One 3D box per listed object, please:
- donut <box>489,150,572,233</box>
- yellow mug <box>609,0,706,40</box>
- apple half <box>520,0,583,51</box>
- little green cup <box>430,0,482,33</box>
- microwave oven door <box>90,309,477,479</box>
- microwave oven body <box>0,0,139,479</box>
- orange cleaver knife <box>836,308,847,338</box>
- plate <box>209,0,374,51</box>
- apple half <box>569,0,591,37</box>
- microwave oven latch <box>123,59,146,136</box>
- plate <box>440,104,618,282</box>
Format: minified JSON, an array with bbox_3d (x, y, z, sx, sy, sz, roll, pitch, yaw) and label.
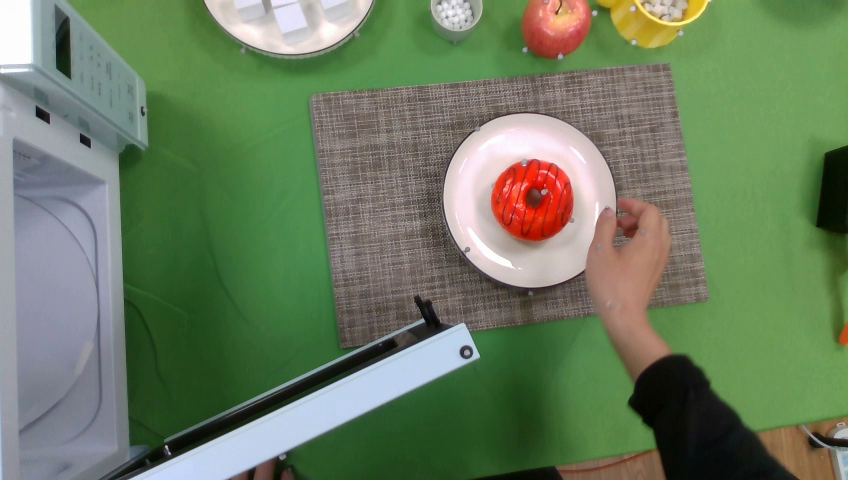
[{"bbox_3d":[0.123,-0.056,0.701,0.099,0.048,0.099,0,87,-5],"label":"donut"},{"bbox_3d":[0.270,-0.305,0.736,0.131,0.064,0.099,4,84,-5],"label":"yellow mug"},{"bbox_3d":[0.143,-0.259,0.717,0.053,0.074,0.081,-33,92,-3],"label":"apple half"},{"bbox_3d":[0.037,-0.280,0.726,0.061,0.038,0.061,0,85,-5],"label":"little green cup"},{"bbox_3d":[-0.132,0.154,0.554,0.356,0.244,0.039,-24,86,-7],"label":"microwave oven door"},{"bbox_3d":[-0.447,0.022,0.538,0.326,0.260,0.440,-4,86,-6],"label":"microwave oven body"},{"bbox_3d":[0.544,0.019,0.726,0.012,0.076,0.212,13,116,-2],"label":"orange cleaver knife"},{"bbox_3d":[-0.154,-0.318,0.710,0.208,0.039,0.207,1,85,-5],"label":"plate"},{"bbox_3d":[0.175,-0.281,0.721,0.033,0.081,0.081,-34,89,-3],"label":"apple half"},{"bbox_3d":[-0.322,-0.155,0.662,0.030,0.029,0.079,-2,86,-6],"label":"microwave oven latch"},{"bbox_3d":[0.121,-0.054,0.712,0.209,0.038,0.208,1,85,-5],"label":"plate"}]
